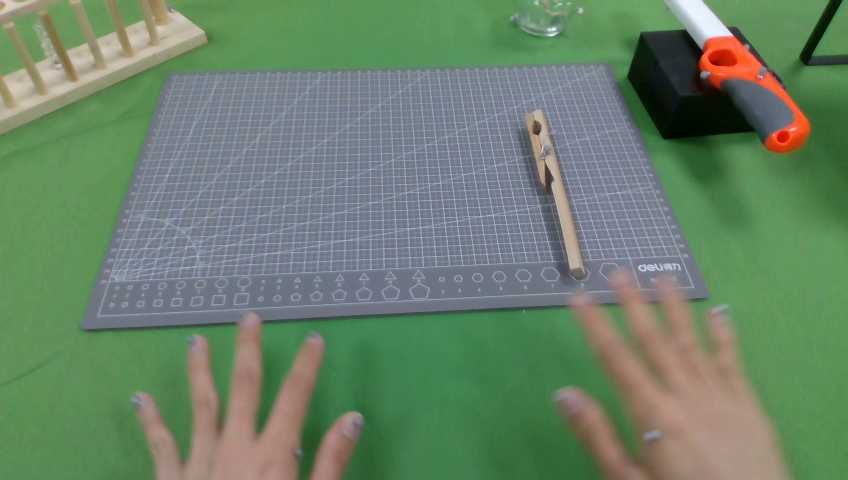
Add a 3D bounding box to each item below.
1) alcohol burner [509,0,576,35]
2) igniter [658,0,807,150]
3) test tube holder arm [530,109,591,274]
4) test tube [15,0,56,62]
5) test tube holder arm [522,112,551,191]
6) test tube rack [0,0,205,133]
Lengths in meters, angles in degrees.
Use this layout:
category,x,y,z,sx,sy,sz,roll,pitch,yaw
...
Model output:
category,x,y,z,sx,sy,sz,roll,pitch,yaw
alcohol burner,0.129,-0.281,0.641,0.078,0.120,0.077,1,53,0
igniter,0.267,-0.174,0.551,0.057,0.025,0.273,-6,49,-3
test tube holder arm,0.110,-0.047,0.504,0.013,0.015,0.176,-28,48,23
test tube,-0.359,-0.226,0.536,0.017,0.151,0.017,2,48,-2
test tube holder arm,0.101,-0.080,0.534,0.010,0.015,0.087,-27,48,23
test tube rack,-0.341,-0.191,0.571,0.242,0.086,0.066,-37,61,-27
